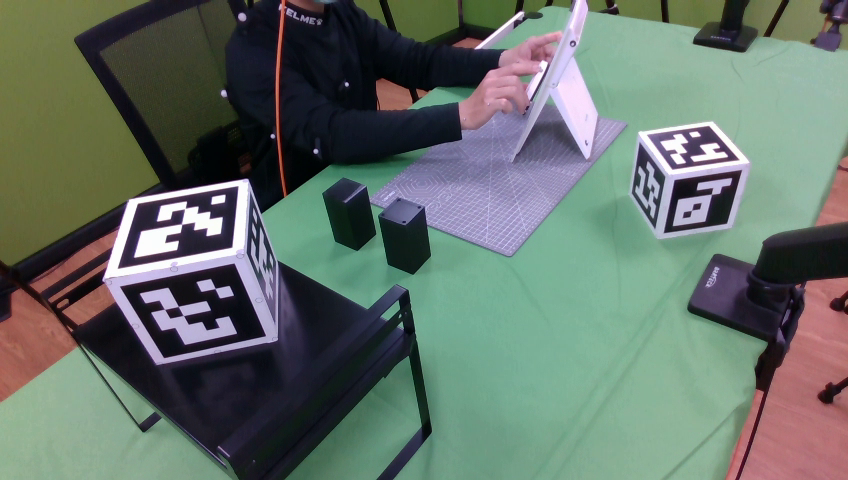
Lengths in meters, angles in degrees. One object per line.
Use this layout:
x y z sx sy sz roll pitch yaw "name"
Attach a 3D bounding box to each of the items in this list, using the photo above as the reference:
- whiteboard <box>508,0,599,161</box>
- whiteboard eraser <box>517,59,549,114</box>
0.285 -0.289 1.089 0.144 0.305 0.217 22 45 3 "whiteboard"
0.193 -0.272 1.073 0.019 0.101 0.041 24 35 1 "whiteboard eraser"
